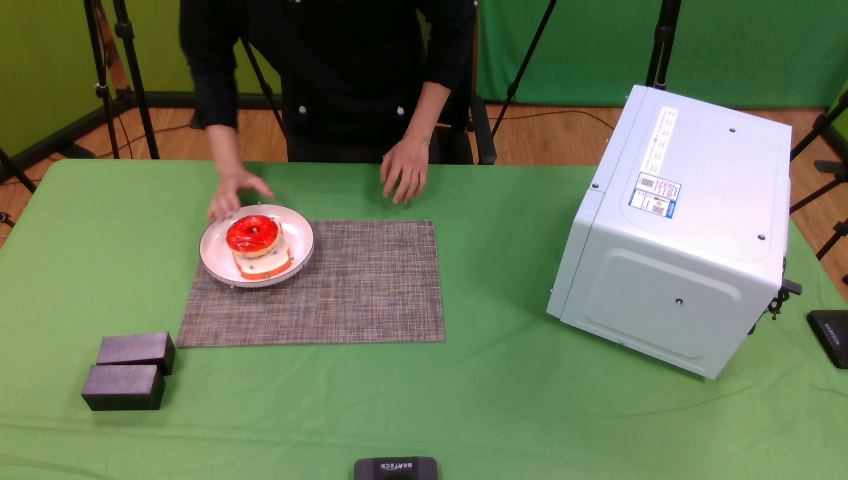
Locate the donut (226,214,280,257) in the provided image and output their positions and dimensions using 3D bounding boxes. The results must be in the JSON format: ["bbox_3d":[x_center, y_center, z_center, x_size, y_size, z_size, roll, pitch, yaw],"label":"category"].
[{"bbox_3d":[-0.318,-0.010,1.127,0.099,0.048,0.098,0,45,0],"label":"donut"}]

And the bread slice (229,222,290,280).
[{"bbox_3d":[-0.308,0.019,1.141,0.105,0.019,0.130,-17,48,-18],"label":"bread slice"}]

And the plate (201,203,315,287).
[{"bbox_3d":[-0.310,0.013,1.145,0.208,0.039,0.206,2,46,-2],"label":"plate"}]

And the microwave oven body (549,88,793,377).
[{"bbox_3d":[0.456,-0.028,1.087,0.325,0.261,0.440,20,47,16],"label":"microwave oven body"}]

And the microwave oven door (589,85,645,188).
[{"bbox_3d":[0.342,-0.107,1.148,0.039,0.245,0.354,20,48,15],"label":"microwave oven door"}]

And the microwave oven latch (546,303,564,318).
[{"bbox_3d":[0.242,0.102,1.081,0.030,0.029,0.079,22,48,17],"label":"microwave oven latch"}]
